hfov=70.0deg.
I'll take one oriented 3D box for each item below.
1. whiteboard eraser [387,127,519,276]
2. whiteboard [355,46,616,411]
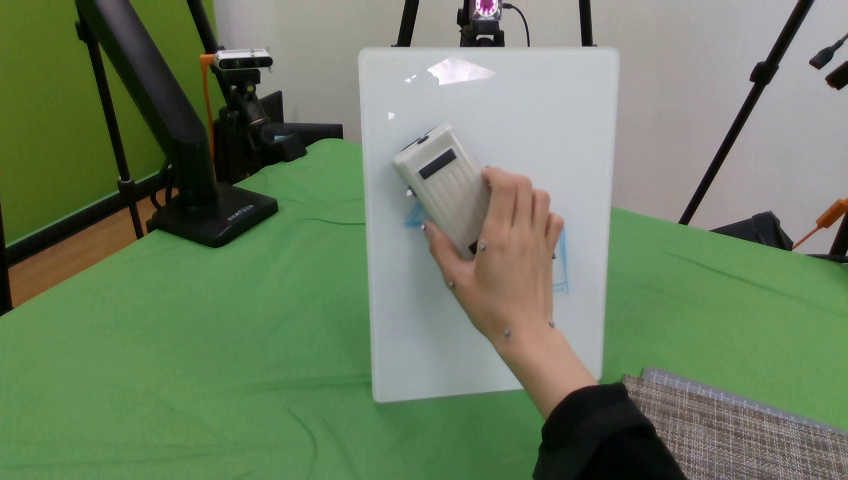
[{"bbox_3d":[0.024,-0.030,0.484,0.055,0.113,0.041,-37,17,-3],"label":"whiteboard eraser"},{"bbox_3d":[0.047,-0.019,0.581,0.218,0.306,0.143,-3,13,-9],"label":"whiteboard"}]
